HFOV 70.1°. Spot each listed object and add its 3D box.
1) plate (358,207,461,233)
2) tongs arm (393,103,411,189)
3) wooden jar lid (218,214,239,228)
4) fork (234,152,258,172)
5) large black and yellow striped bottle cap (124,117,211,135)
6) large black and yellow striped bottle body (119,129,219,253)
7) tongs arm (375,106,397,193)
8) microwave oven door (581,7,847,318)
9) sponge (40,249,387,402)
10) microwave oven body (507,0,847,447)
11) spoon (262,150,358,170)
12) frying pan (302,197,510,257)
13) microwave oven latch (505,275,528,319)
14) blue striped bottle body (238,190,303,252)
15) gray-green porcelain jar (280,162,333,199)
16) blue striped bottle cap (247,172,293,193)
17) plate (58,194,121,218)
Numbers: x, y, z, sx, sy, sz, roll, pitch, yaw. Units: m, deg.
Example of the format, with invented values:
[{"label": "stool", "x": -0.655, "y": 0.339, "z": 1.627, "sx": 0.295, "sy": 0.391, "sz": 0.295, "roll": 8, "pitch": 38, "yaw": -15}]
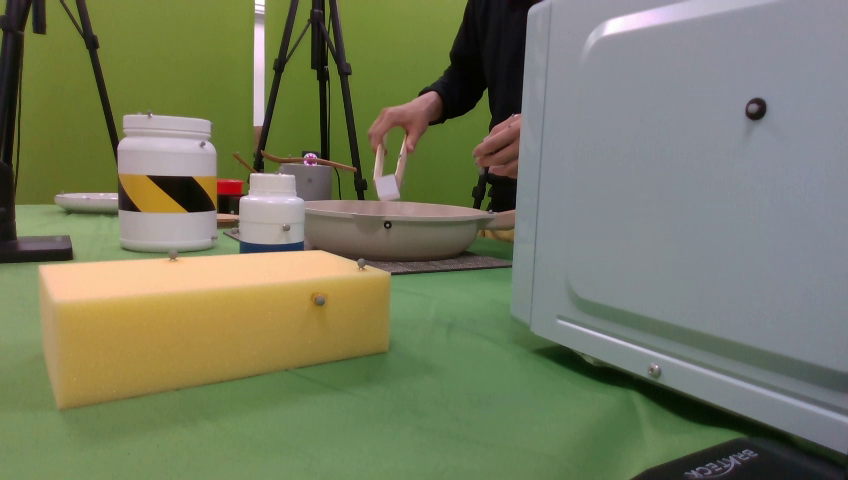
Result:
[{"label": "plate", "x": -0.030, "y": -0.041, "z": 1.213, "sx": 0.208, "sy": 0.039, "sz": 0.207, "roll": 3, "pitch": 7, "yaw": 0}, {"label": "tongs arm", "x": -0.050, "y": -0.181, "z": 1.102, "sx": 0.050, "sy": 0.026, "sz": 0.384, "roll": -14, "pitch": 28, "yaw": 12}, {"label": "wooden jar lid", "x": -0.404, "y": -0.037, "z": 1.169, "sx": 0.108, "sy": 0.020, "sz": 0.108, "roll": 3, "pitch": 7, "yaw": 0}, {"label": "fork", "x": -0.396, "y": -0.143, "z": 1.486, "sx": 0.028, "sy": 0.018, "sz": 0.208, "roll": 20, "pitch": -26, "yaw": 45}, {"label": "large black and yellow striped bottle cap", "x": -0.366, "y": -0.163, "z": 0.866, "sx": 0.115, "sy": 0.019, "sz": 0.115, "roll": 3, "pitch": 7, "yaw": 0}, {"label": "large black and yellow striped bottle body", "x": -0.367, "y": -0.080, "z": 0.876, "sx": 0.131, "sy": 0.184, "sz": 0.130, "roll": 2, "pitch": 7, "yaw": 0}, {"label": "tongs arm", "x": -0.071, "y": -0.175, "z": 1.104, "sx": 0.028, "sy": 0.028, "sz": 0.387, "roll": -19, "pitch": 27, "yaw": 10}, {"label": "microwave oven door", "x": 0.295, "y": -0.067, "z": 0.569, "sx": 0.358, "sy": 0.243, "sz": 0.039, "roll": -3, "pitch": 8, "yaw": -31}, {"label": "sponge", "x": -0.142, "y": 0.047, "z": 0.420, "sx": 0.208, "sy": 0.061, "sz": 0.117, "roll": -3, "pitch": 8, "yaw": -36}, {"label": "microwave oven body", "x": 0.331, "y": -0.042, "z": 0.425, "sx": 0.444, "sy": 0.260, "sz": 0.324, "roll": -2, "pitch": 8, "yaw": -31}, {"label": "spoon", "x": -0.229, "y": -0.162, "z": 1.222, "sx": 0.194, "sy": 0.021, "sz": 0.041, "roll": 4, "pitch": 4, "yaw": -16}, {"label": "frying pan", "x": 0.051, "y": -0.035, "z": 0.915, "sx": 0.487, "sy": 0.102, "sz": 0.307, "roll": -5, "pitch": 7, "yaw": 11}, {"label": "microwave oven latch", "x": 0.100, "y": 0.041, "z": 0.471, "sx": 0.079, "sy": 0.029, "sz": 0.030, "roll": -1, "pitch": 7, "yaw": -28}, {"label": "blue striped bottle body", "x": -0.153, "y": -0.007, "z": 0.606, "sx": 0.063, "sy": 0.120, "sz": 0.063, "roll": 2, "pitch": 8, "yaw": 0}, {"label": "gray-green porcelain jar", "x": -0.238, "y": -0.092, "z": 1.221, "sx": 0.106, "sy": 0.126, "sz": 0.106, "roll": 2, "pitch": 7, "yaw": 0}, {"label": "blue striped bottle cap", "x": -0.152, "y": -0.057, "z": 0.598, "sx": 0.044, "sy": 0.020, "sz": 0.044, "roll": 3, "pitch": 6, "yaw": 0}, {"label": "plate", "x": -0.671, "y": -0.074, "z": 1.310, "sx": 0.209, "sy": 0.038, "sz": 0.209, "roll": 2, "pitch": 8, "yaw": 0}]
